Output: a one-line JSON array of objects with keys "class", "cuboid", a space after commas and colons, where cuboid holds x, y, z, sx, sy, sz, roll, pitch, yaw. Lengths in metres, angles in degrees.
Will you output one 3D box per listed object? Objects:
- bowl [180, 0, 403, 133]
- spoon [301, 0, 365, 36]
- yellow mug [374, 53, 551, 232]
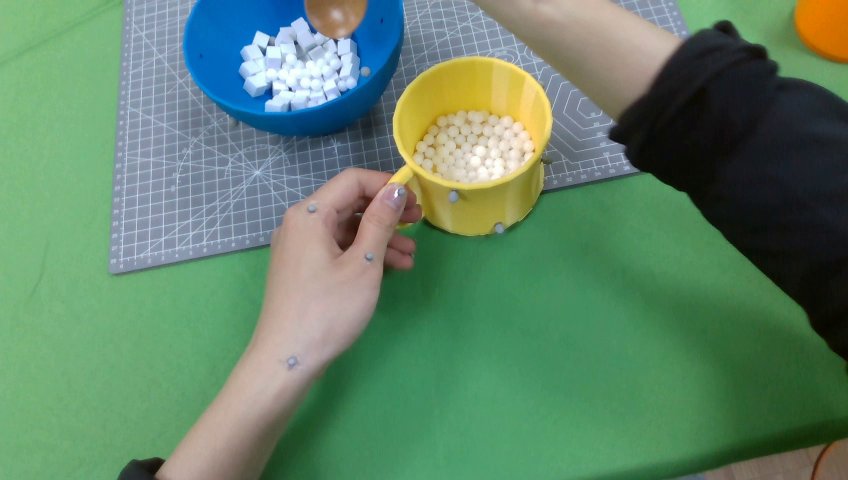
[{"class": "bowl", "cuboid": [-0.085, -0.130, 0.436, 0.151, 0.077, 0.150, -2, 66, 5]}, {"class": "spoon", "cuboid": [-0.031, -0.190, 0.323, 0.042, 0.194, 0.021, 31, 54, -4]}, {"class": "yellow mug", "cuboid": [0.020, -0.054, 0.398, 0.131, 0.064, 0.099, -40, 67, -11]}]
